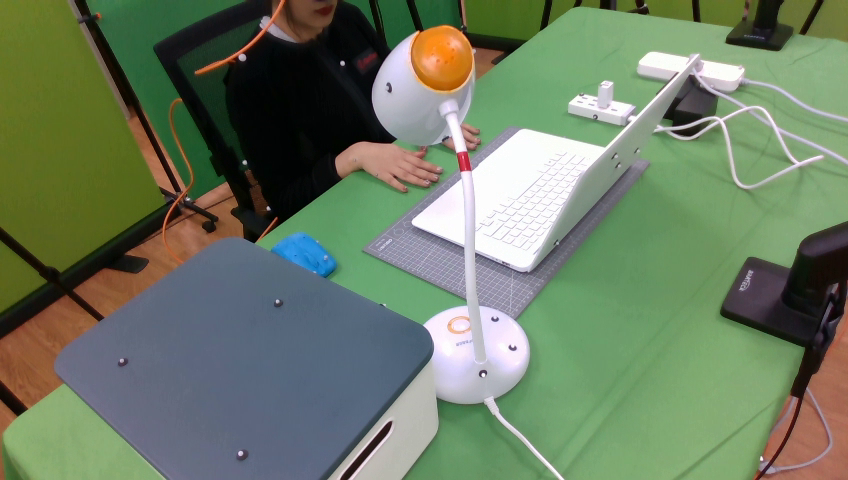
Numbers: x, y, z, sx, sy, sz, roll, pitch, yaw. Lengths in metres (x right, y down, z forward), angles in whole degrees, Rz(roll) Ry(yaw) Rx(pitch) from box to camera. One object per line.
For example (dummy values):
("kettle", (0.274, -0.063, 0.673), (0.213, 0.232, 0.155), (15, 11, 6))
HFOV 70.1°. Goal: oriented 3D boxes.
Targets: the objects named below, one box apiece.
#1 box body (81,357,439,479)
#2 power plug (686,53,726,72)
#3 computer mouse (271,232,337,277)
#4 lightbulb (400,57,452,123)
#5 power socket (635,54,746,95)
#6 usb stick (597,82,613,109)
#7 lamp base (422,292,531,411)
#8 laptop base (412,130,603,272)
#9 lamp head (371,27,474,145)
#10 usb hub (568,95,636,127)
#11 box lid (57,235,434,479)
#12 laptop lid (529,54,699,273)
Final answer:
("box body", (-0.189, 0.179, 0.702), (0.361, 0.161, 0.255), (22, 49, 32))
("power plug", (0.584, -0.361, 1.260), (0.072, 0.053, 0.035), (14, 55, 16))
("computer mouse", (-0.197, 0.027, 0.983), (0.063, 0.041, 0.116), (-33, 49, -28))
("lightbulb", (0.003, -0.169, 0.668), (0.059, 0.108, 0.059), (0, 79, -1))
("power socket", (0.564, -0.357, 1.293), (0.225, 0.033, 0.072), (24, 51, 33))
("usb stick", (0.360, -0.281, 1.204), (0.021, 0.059, 0.027), (23, 49, 33))
("lamp base", (0.054, 0.095, 0.740), (0.161, 0.181, 0.177), (-19, 43, -11))
("laptop base", (0.176, -0.083, 1.055), (0.233, 0.023, 0.355), (21, 48, 36))
("lamp head", (0.007, -0.167, 0.644), (0.113, 0.112, 0.122), (-22, 2, -14))
("usb hub", (0.360, -0.263, 1.228), (0.124, 0.025, 0.049), (24, 49, 33))
("box lid", (-0.198, 0.123, 0.653), (0.368, 0.015, 0.264), (22, 49, 32))
("laptop lid", (0.283, -0.114, 0.897), (0.013, 0.242, 0.358), (38, 55, 17))
